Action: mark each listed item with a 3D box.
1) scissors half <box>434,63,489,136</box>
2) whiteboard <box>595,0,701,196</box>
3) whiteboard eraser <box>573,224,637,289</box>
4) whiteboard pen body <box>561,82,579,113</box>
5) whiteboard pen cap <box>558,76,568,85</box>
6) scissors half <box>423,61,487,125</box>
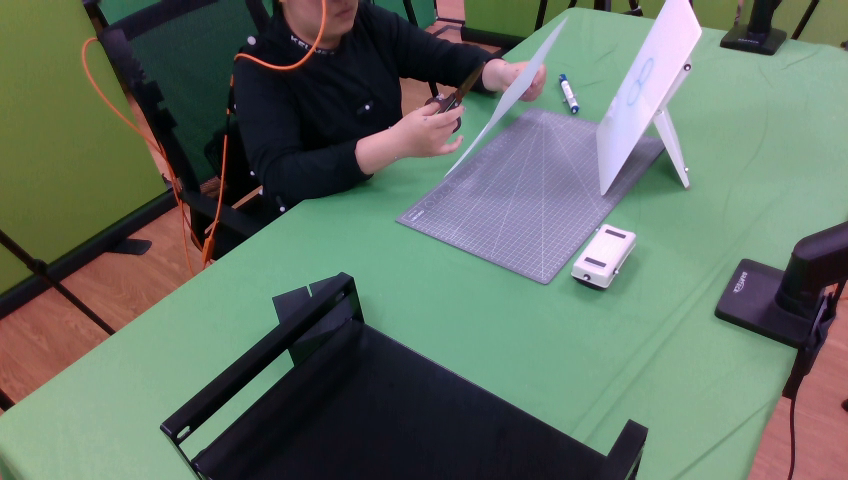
[{"bbox_3d":[0.065,-0.236,1.027,0.040,0.175,0.013,35,48,-1],"label":"scissors half"},{"bbox_3d":[0.421,-0.227,1.010,0.144,0.305,0.216,18,42,-2],"label":"whiteboard"},{"bbox_3d":[0.267,0.025,0.891,0.055,0.042,0.113,19,47,31],"label":"whiteboard eraser"},{"bbox_3d":[0.311,-0.312,1.297,0.017,0.017,0.140,-6,41,3],"label":"whiteboard pen body"},{"bbox_3d":[0.310,-0.350,1.341,0.018,0.018,0.033,-6,41,2],"label":"whiteboard pen cap"},{"bbox_3d":[0.051,-0.250,1.025,0.174,0.040,0.013,-32,13,46],"label":"scissors half"}]
